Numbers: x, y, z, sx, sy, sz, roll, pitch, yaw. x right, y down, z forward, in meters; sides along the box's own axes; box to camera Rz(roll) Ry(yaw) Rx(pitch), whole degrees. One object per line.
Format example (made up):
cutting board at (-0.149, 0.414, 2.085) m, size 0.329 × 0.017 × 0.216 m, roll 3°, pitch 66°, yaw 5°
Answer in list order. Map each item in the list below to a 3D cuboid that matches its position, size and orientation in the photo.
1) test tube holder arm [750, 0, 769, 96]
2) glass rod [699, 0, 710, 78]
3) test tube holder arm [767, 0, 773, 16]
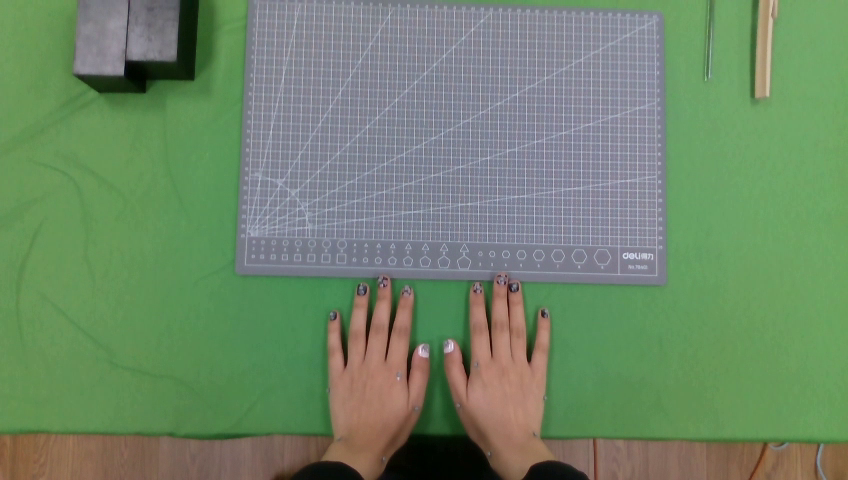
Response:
test tube holder arm at (0.370, -0.246, 0.663) m, size 0.013 × 0.015 × 0.178 m, roll 10°, pitch 84°, yaw -30°
glass rod at (0.313, -0.276, 0.671) m, size 0.008 × 0.008 × 0.199 m, roll 6°, pitch 84°, yaw -2°
test tube holder arm at (0.381, -0.289, 0.670) m, size 0.010 × 0.015 × 0.087 m, roll 11°, pitch 84°, yaw -30°
